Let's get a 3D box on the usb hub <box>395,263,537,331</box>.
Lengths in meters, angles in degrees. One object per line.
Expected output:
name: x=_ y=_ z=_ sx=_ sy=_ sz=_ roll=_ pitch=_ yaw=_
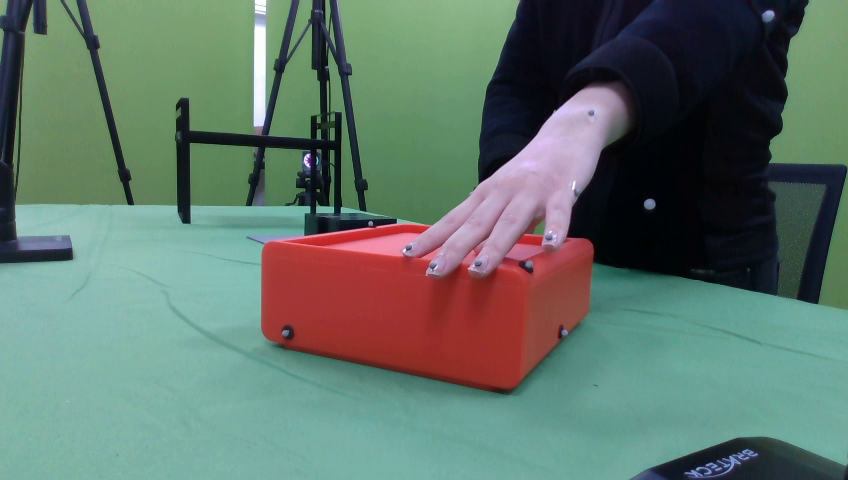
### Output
usb hub: x=0.034 y=0.048 z=0.536 sx=0.124 sy=0.025 sz=0.050 roll=16 pitch=14 yaw=39

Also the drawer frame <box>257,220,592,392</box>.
drawer frame: x=0.014 y=0.036 z=0.491 sx=0.201 sy=0.082 sz=0.214 roll=6 pitch=9 yaw=24

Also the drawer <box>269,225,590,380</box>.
drawer: x=0.016 y=0.038 z=0.497 sx=0.194 sy=0.073 sz=0.212 roll=6 pitch=9 yaw=26
